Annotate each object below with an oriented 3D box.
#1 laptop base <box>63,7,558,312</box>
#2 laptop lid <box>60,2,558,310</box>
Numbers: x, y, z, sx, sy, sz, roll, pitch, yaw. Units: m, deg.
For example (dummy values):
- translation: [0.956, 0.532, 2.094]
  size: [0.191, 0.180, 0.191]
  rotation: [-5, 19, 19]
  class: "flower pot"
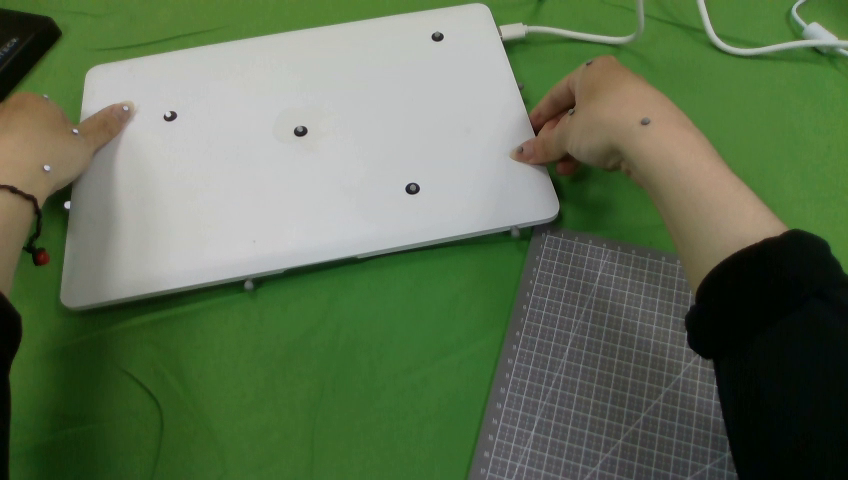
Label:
- translation: [-0.095, -0.077, 0.484]
  size: [0.355, 0.023, 0.233]
  rotation: [-11, 62, -4]
  class: "laptop base"
- translation: [-0.095, -0.082, 0.473]
  size: [0.357, 0.013, 0.239]
  rotation: [-9, 61, -3]
  class: "laptop lid"
